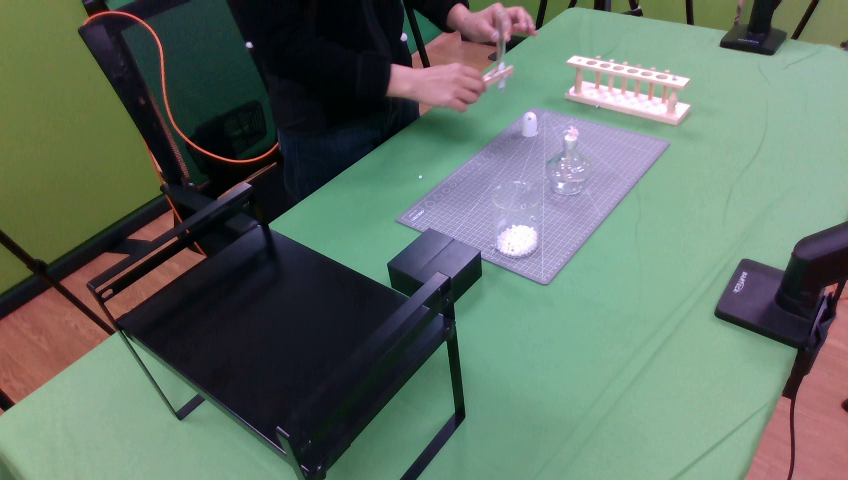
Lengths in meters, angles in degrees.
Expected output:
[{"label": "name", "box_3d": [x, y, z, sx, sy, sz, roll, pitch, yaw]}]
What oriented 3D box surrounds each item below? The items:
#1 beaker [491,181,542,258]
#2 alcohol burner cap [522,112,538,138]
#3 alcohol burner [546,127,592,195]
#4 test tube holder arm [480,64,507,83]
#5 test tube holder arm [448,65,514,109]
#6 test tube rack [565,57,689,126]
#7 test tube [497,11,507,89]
[{"label": "beaker", "box_3d": [0.144, -0.030, 0.925, 0.073, 0.101, 0.084, 23, 48, 31]}, {"label": "alcohol burner cap", "box_3d": [0.210, -0.230, 1.195, 0.034, 0.048, 0.033, -5, 41, 5]}, {"label": "alcohol burner", "box_3d": [0.246, -0.137, 1.023, 0.078, 0.119, 0.077, -4, 38, 4]}, {"label": "test tube holder arm", "box_3d": [0.130, -0.307, 1.133, 0.010, 0.015, 0.088, 15, 43, 32]}, {"label": "test tube holder arm", "box_3d": [0.106, -0.281, 1.105, 0.013, 0.015, 0.179, 22, 47, 38]}, {"label": "test tube rack", "box_3d": [0.412, -0.311, 1.231, 0.240, 0.085, 0.067, 24, 49, 32]}, {"label": "test tube", "box_3d": [0.145, -0.349, 1.119, 0.017, 0.151, 0.017, -4, 43, 4]}]
